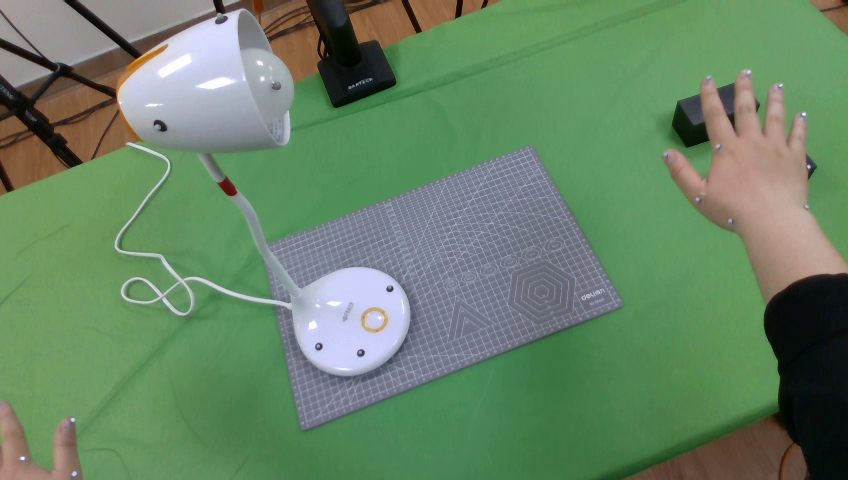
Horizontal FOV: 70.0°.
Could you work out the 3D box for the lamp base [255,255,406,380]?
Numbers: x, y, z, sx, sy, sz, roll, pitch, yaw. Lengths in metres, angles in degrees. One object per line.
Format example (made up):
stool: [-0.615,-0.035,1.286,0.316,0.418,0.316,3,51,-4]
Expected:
lamp base: [-0.129,0.075,0.768,0.179,0.182,0.159,1,60,15]

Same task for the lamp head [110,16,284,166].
lamp head: [-0.188,-0.112,0.505,0.123,0.113,0.111,-16,59,7]
